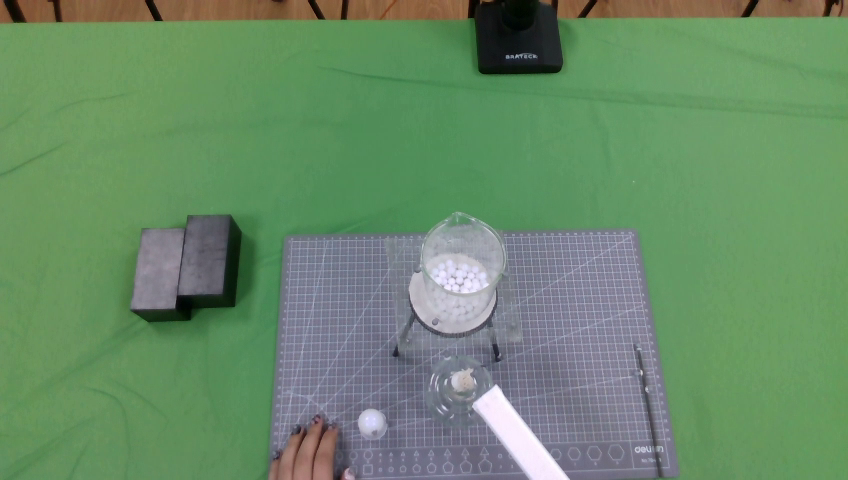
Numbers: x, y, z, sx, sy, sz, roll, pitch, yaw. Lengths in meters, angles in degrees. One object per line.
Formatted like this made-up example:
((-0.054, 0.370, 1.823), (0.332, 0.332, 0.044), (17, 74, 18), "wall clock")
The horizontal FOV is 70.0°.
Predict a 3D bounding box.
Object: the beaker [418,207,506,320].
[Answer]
((0.031, 0.027, 0.559), (0.074, 0.101, 0.083), (-4, 66, -3), "beaker")

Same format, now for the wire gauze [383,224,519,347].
((0.026, 0.044, 0.604), (0.125, 0.011, 0.120), (-6, 66, -2), "wire gauze")

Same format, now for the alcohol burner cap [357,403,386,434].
((-0.058, 0.194, 0.663), (0.034, 0.048, 0.033), (1, 68, -1), "alcohol burner cap")

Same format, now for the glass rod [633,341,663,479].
((0.255, 0.212, 0.683), (0.008, 0.008, 0.198), (-2, 68, -3), "glass rod")

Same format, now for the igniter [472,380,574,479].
((0.138, 0.247, 0.542), (0.057, 0.025, 0.275), (-38, 76, 0), "igniter")

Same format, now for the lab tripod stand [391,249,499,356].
((0.025, 0.071, 0.665), (0.148, 0.132, 0.147), (0, 67, 0), "lab tripod stand")

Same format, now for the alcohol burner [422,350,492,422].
((0.036, 0.151, 0.644), (0.078, 0.120, 0.077), (0, 66, 0), "alcohol burner")
